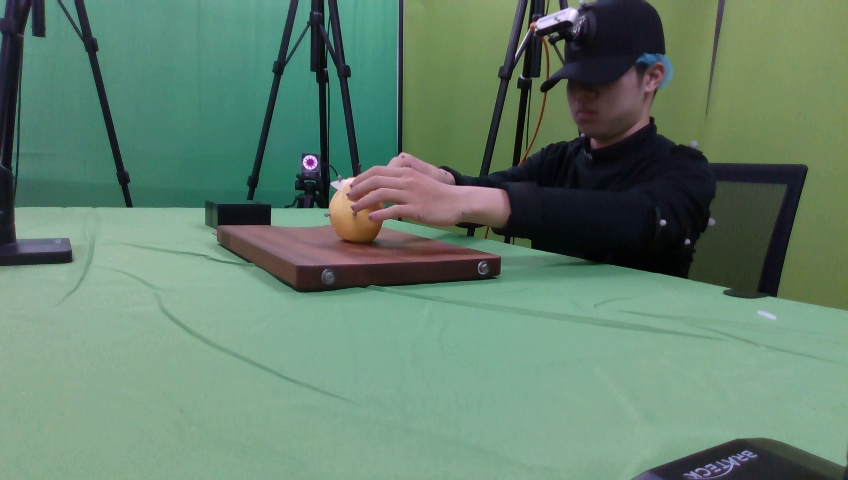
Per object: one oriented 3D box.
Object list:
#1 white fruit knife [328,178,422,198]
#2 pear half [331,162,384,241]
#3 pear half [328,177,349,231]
[{"bbox_3d":[-0.067,-0.080,0.898,0.016,0.027,0.208,7,6,36],"label":"white fruit knife"},{"bbox_3d":[-0.085,-0.052,0.839,0.055,0.110,0.077,9,13,38],"label":"pear half"},{"bbox_3d":[-0.113,-0.046,0.866,0.031,0.088,0.071,3,8,37],"label":"pear half"}]
